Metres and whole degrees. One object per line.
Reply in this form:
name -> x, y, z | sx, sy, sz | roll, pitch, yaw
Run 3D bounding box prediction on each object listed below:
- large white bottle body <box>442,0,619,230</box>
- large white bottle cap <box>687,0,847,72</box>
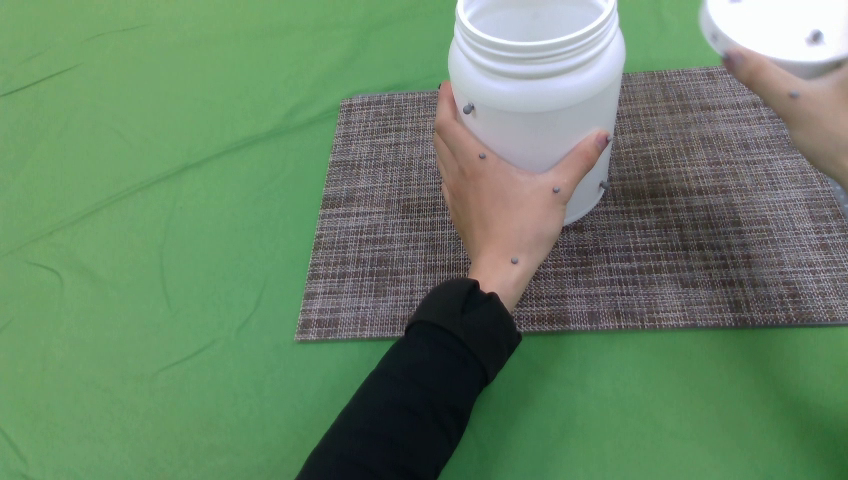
large white bottle body -> 0.084, -0.111, 0.486 | 0.130, 0.186, 0.129 | -5, 53, 6
large white bottle cap -> 0.242, -0.161, 0.414 | 0.115, 0.018, 0.114 | -3, 60, 5
